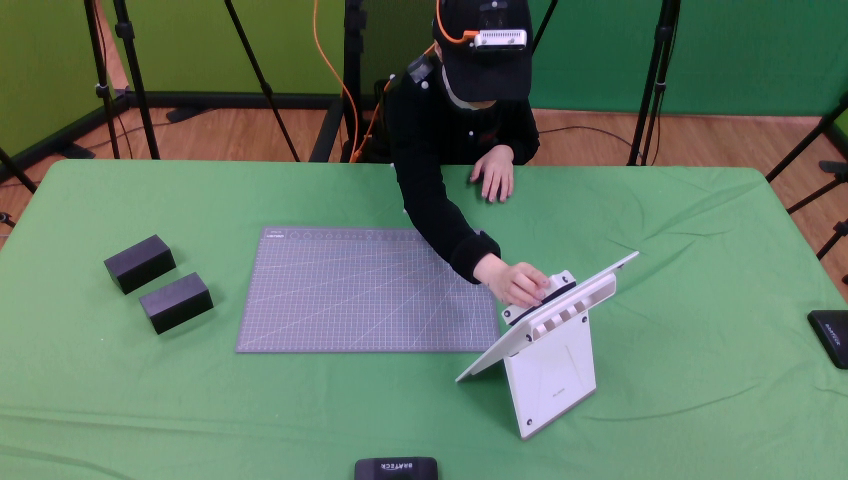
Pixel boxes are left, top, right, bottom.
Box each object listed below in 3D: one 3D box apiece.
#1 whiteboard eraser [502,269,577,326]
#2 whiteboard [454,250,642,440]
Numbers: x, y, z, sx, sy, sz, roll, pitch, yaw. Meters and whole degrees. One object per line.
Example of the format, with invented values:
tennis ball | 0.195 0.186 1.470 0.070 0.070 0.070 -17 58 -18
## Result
whiteboard eraser | 0.170 0.089 0.884 0.056 0.113 0.041 -17 69 -52
whiteboard | 0.206 0.174 0.889 0.217 0.306 0.143 -24 72 -25
